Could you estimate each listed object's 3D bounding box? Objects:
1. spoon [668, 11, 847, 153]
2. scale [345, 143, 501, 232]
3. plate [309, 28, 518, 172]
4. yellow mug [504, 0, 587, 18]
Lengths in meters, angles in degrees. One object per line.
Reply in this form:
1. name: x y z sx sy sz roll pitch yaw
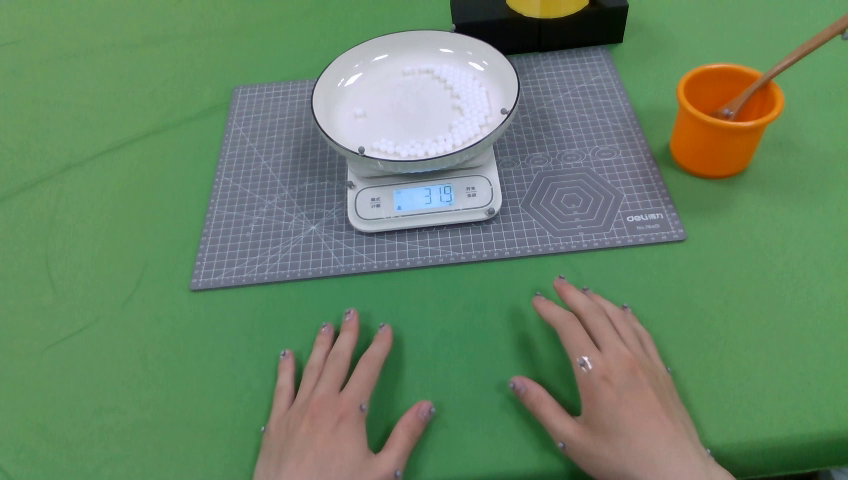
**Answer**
1. spoon: 0.311 -0.145 0.553 0.022 0.194 0.041 24 39 -32
2. scale: -0.006 -0.097 0.620 0.148 0.032 0.199 -6 52 2
3. plate: -0.010 -0.140 0.612 0.209 0.038 0.207 -2 52 3
4. yellow mug: 0.156 -0.307 0.687 0.130 0.064 0.099 12 54 14
